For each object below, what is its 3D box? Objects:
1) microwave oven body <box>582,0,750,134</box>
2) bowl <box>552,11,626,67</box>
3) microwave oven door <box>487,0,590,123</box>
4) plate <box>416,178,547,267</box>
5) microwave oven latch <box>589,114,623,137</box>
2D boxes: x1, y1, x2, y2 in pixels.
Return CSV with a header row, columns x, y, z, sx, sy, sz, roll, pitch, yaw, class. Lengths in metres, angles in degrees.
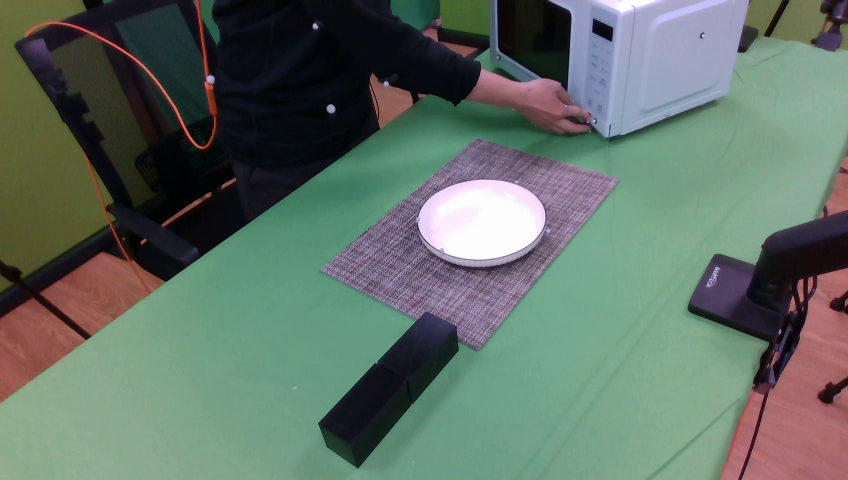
x,y,z,sx,sy,sz,roll,pitch,yaw,class
0.382,-0.445,1.246,0.327,0.261,0.437,-22,42,-16,microwave oven body
0.343,-0.418,1.278,0.151,0.077,0.150,-1,41,1,bowl
0.232,-0.420,1.231,0.039,0.245,0.352,-22,43,-16,microwave oven door
0.091,-0.026,0.970,0.207,0.039,0.206,-4,41,4,plate
0.342,-0.223,1.142,0.030,0.029,0.078,-15,40,-7,microwave oven latch
